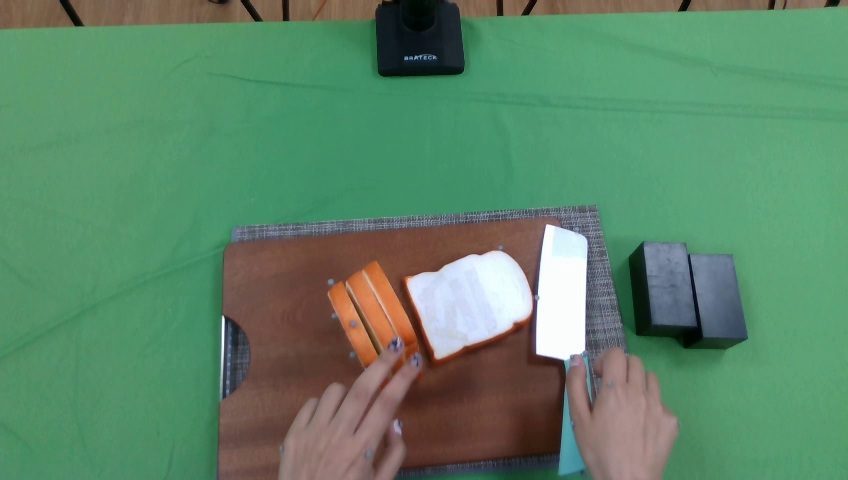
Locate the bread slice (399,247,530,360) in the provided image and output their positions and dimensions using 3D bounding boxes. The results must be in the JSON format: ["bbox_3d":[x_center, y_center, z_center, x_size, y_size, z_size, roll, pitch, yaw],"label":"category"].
[{"bbox_3d":[0.050,0.065,0.677,0.134,0.018,0.106,-16,73,-6],"label":"bread slice"}]

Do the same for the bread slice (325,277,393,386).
[{"bbox_3d":[-0.067,0.091,0.607,0.019,0.132,0.104,-28,70,-7],"label":"bread slice"}]

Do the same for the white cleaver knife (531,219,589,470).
[{"bbox_3d":[0.149,0.106,0.672,0.066,0.021,0.284,9,63,-5],"label":"white cleaver knife"}]
